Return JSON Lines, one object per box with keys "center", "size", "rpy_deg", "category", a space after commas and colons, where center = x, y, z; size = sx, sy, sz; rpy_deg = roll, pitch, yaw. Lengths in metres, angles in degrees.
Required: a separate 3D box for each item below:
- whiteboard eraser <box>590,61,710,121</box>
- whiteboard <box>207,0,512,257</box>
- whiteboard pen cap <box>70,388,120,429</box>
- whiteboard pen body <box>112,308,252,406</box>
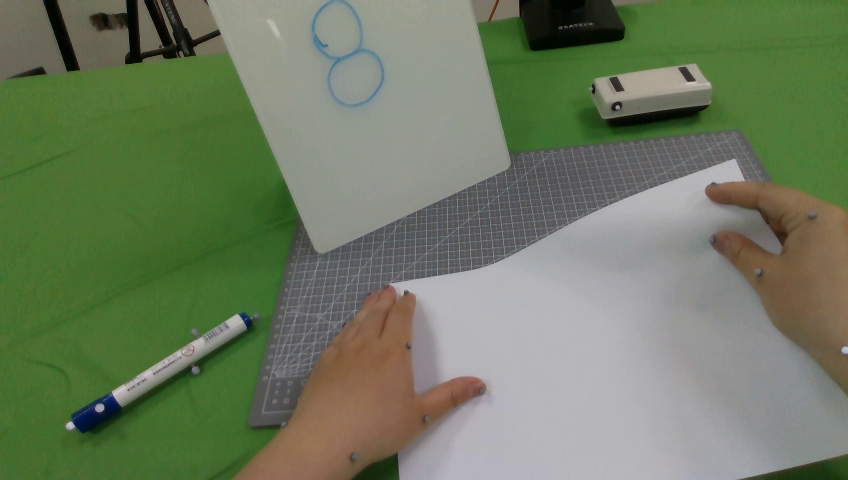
{"center": [0.238, -0.156, 0.643], "size": [0.112, 0.042, 0.055], "rpy_deg": [-7, 47, 2], "category": "whiteboard eraser"}
{"center": [-0.074, -0.180, 0.578], "size": [0.217, 0.308, 0.142], "rpy_deg": [-25, 26, -14], "category": "whiteboard"}
{"center": [-0.246, 0.125, 0.456], "size": [0.033, 0.018, 0.018], "rpy_deg": [-35, 50, -24], "category": "whiteboard pen cap"}
{"center": [-0.201, 0.097, 0.480], "size": [0.141, 0.017, 0.017], "rpy_deg": [-33, 49, -23], "category": "whiteboard pen body"}
